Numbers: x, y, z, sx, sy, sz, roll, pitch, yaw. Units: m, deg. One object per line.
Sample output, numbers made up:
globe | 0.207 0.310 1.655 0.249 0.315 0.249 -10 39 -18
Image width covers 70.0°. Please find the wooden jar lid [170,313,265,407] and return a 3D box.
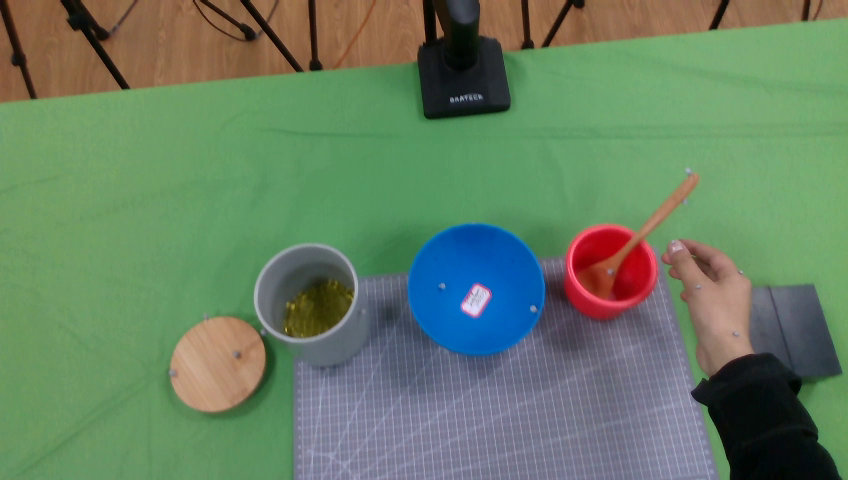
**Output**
wooden jar lid | -0.237 0.139 0.700 0.108 0.021 0.107 -1 67 2

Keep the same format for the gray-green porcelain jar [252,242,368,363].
gray-green porcelain jar | -0.117 0.074 0.662 0.106 0.127 0.105 -1 67 2

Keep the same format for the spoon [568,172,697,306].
spoon | 0.230 0.002 0.671 0.041 0.022 0.194 48 120 19

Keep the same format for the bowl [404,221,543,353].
bowl | 0.055 0.062 0.688 0.151 0.077 0.150 -1 67 2
